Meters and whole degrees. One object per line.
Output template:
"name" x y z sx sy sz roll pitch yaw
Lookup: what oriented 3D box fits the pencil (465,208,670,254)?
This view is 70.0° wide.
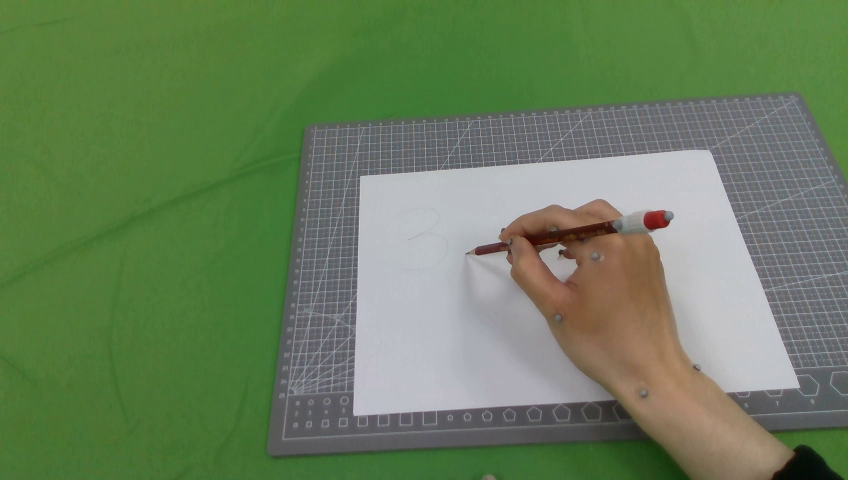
"pencil" 0.075 -0.001 0.384 0.012 0.193 0.012 3 83 -26
